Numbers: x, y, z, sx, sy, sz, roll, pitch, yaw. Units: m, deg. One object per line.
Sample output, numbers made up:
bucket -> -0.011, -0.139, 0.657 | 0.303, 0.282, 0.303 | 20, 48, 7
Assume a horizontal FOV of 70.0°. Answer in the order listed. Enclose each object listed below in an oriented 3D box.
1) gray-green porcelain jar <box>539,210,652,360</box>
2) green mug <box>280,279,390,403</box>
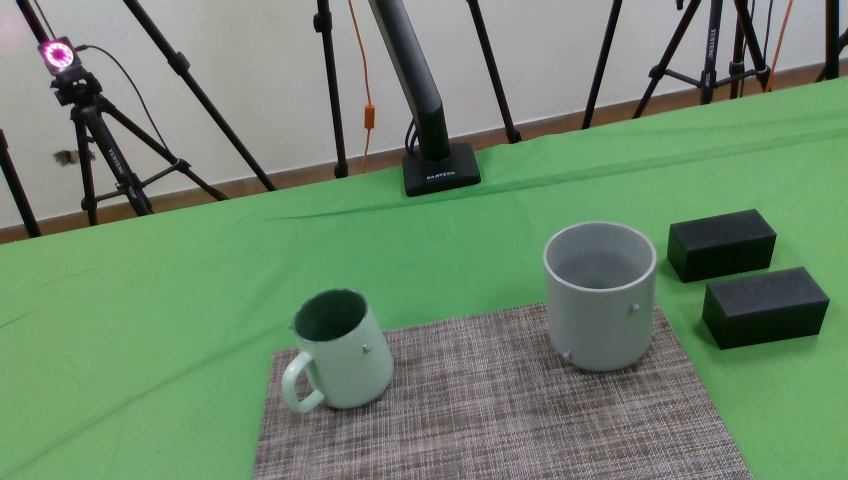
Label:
gray-green porcelain jar -> 0.173, 0.050, 0.616 | 0.106, 0.128, 0.105 | -8, 39, 7
green mug -> -0.098, 0.115, 0.630 | 0.092, 0.106, 0.125 | 18, 48, 32
